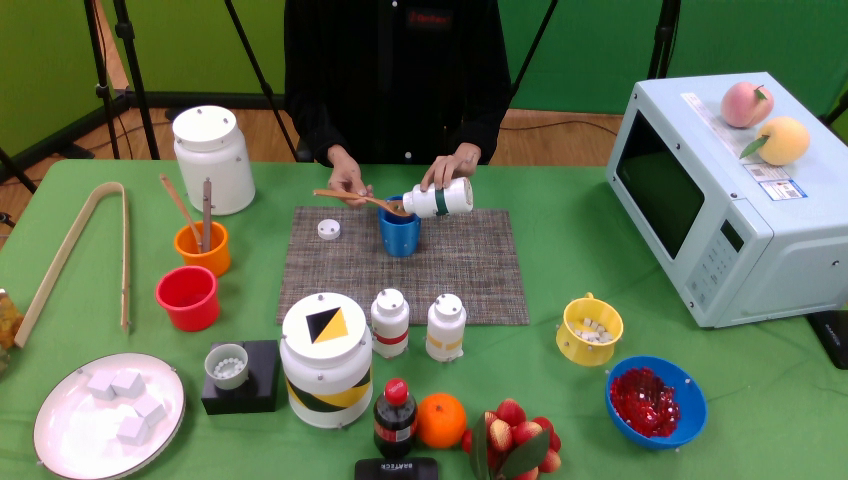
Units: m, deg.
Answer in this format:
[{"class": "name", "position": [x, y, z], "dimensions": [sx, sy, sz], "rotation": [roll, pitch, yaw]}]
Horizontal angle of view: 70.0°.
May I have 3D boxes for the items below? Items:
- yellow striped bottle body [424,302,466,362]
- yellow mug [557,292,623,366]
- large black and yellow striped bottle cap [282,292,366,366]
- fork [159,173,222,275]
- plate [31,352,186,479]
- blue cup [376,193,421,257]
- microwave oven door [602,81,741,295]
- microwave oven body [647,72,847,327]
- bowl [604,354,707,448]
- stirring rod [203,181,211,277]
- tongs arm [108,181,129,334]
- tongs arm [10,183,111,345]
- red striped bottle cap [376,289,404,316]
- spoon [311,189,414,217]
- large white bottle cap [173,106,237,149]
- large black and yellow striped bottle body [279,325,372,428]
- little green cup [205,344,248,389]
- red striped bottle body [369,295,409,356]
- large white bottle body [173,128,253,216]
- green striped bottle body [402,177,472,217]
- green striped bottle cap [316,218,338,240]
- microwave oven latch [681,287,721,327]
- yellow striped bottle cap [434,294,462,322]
[{"class": "yellow striped bottle body", "position": [0.035, 0.143, 0.995], "dimensions": [0.063, 0.121, 0.062], "rotation": [3, 46, -2]}, {"class": "yellow mug", "position": [0.285, 0.145, 1.051], "dimensions": [0.100, 0.064, 0.130], "rotation": [7, 45, 4]}, {"class": "large black and yellow striped bottle cap", "position": [-0.138, 0.121, 0.841], "dimensions": [0.115, 0.019, 0.114], "rotation": [3, 47, -3]}, {"class": "fork", "position": [-0.427, -0.029, 1.103], "dimensions": [0.028, 0.018, 0.207], "rotation": [-31, 99, -30]}, {"class": "plate", "position": [-0.459, 0.262, 0.898], "dimensions": [0.209, 0.038, 0.208], "rotation": [2, 46, -2]}, {"class": "blue cup", "position": [-0.048, -0.022, 1.155], "dimensions": [0.093, 0.101, 0.092], "rotation": [1, 47, -1]}, {"class": "microwave oven door", "position": [0.456, -0.107, 1.162], "dimensions": [0.039, 0.245, 0.353], "rotation": [-7, 47, -11]}, {"class": "microwave oven body", "position": [0.607, -0.089, 1.164], "dimensions": [0.326, 0.261, 0.438], "rotation": [-7, 46, -10]}, {"class": "bowl", "position": [0.346, 0.261, 0.937], "dimensions": [0.151, 0.077, 0.150], "rotation": [2, 46, -2]}, {"class": "stirring rod", "position": [-0.396, -0.021, 1.108], "dimensions": [0.014, 0.006, 0.176], "rotation": [-1, 89, -2]}, {"class": "tongs arm", "position": [-0.571, 0.019, 1.123], "dimensions": [0.051, 0.026, 0.382], "rotation": [-10, 47, -12]}, {"class": "tongs arm", "position": [-0.658, 0.027, 1.109], "dimensions": [0.028, 0.028, 0.385], "rotation": [-2, 45, 2]}, {"class": "red striped bottle cap", "position": [-0.054, 0.098, 0.958], "dimensions": [0.044, 0.018, 0.044], "rotation": [0, 48, 1]}, {"class": "spoon", "position": [-0.107, -0.072, 1.091], "dimensions": [0.194, 0.022, 0.041], "rotation": [12, 49, -20]}, {"class": "large white bottle cap", "position": [-0.411, -0.212, 1.138], "dimensions": [0.115, 0.018, 0.114], "rotation": [3, 47, -2]}, {"class": "large black and yellow striped bottle body", "position": [-0.143, 0.181, 0.900], "dimensions": [0.131, 0.185, 0.130], "rotation": [2, 46, -2]}, {"class": "little green cup", "position": [-0.294, 0.191, 0.909], "dimensions": [0.061, 0.039, 0.061], "rotation": [2, 47, -1]}, {"class": "red striped bottle body", "position": [-0.059, 0.134, 0.997], "dimensions": [0.063, 0.120, 0.062], "rotation": [5, 48, -5]}, {"class": "large white bottle body", "position": [-0.416, -0.154, 1.199], "dimensions": [0.131, 0.185, 0.130], "rotation": [2, 46, -2]}, {"class": "green striped bottle body", "position": [0.022, -0.075, 1.084], "dimensions": [0.119, 0.063, 0.063], "rotation": [-6, 44, 16]}, {"class": "green striped bottle cap", "position": [-0.192, -0.022, 1.203], "dimensions": [0.044, 0.020, 0.044], "rotation": [2, 50, -2]}, {"class": "microwave oven latch", "position": [0.494, 0.119, 1.087], "dimensions": [0.030, 0.029, 0.078], "rotation": [-6, 46, -9]}, {"class": "yellow striped bottle cap", "position": [0.038, 0.107, 0.958], "dimensions": [0.044, 0.019, 0.044], "rotation": [2, 45, -2]}]
